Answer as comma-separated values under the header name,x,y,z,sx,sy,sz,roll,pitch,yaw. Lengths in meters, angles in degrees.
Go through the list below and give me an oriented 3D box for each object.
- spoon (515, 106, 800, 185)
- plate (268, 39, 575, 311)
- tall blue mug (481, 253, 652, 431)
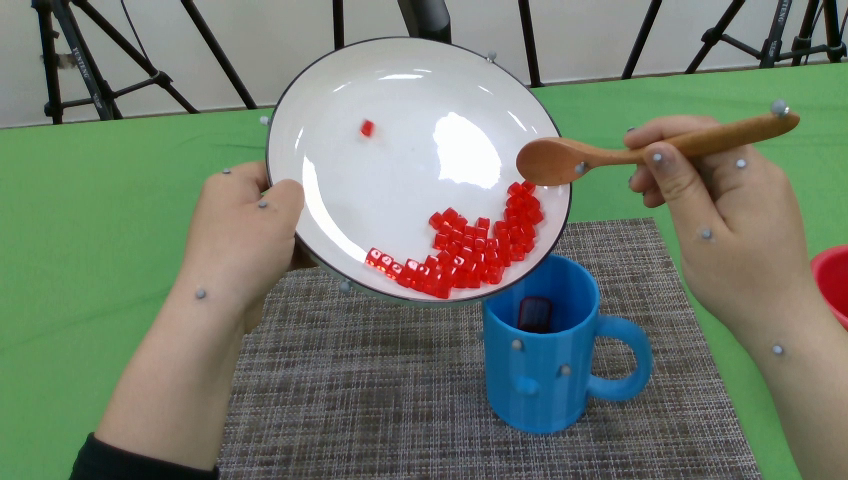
name,x,y,z,sx,sy,sz,roll,pitch,yaw
spoon,0.116,-0.050,0.344,0.021,0.042,0.192,-53,22,-14
plate,0.000,-0.046,0.417,0.208,0.039,0.206,5,64,-10
tall blue mug,0.095,0.071,0.427,0.107,0.109,0.077,-8,41,-1
